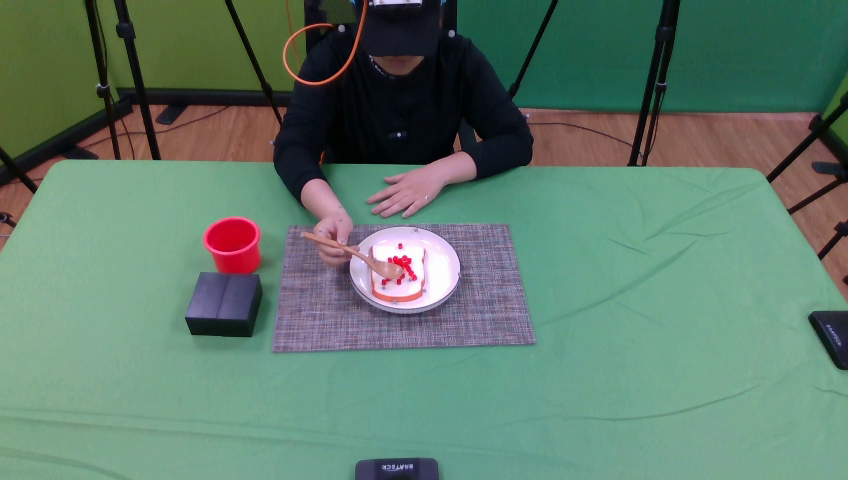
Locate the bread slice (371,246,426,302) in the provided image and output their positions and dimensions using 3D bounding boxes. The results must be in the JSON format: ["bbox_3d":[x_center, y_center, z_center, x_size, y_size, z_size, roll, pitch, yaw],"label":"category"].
[{"bbox_3d":[-0.047,0.060,1.123,0.105,0.019,0.130,0,46,-3],"label":"bread slice"}]

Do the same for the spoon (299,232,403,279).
[{"bbox_3d":[-0.126,0.024,1.063,0.194,0.022,0.041,27,37,-16],"label":"spoon"}]

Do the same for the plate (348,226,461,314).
[{"bbox_3d":[-0.035,0.058,1.123,0.209,0.038,0.208,2,46,-2],"label":"plate"}]
